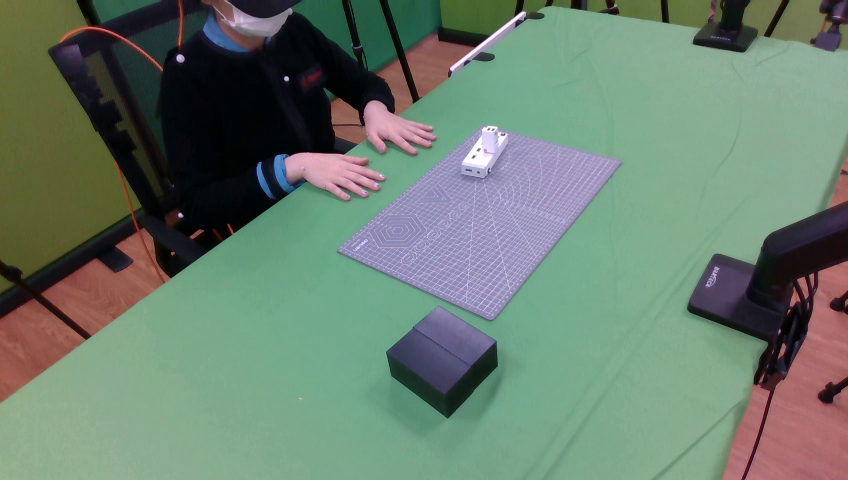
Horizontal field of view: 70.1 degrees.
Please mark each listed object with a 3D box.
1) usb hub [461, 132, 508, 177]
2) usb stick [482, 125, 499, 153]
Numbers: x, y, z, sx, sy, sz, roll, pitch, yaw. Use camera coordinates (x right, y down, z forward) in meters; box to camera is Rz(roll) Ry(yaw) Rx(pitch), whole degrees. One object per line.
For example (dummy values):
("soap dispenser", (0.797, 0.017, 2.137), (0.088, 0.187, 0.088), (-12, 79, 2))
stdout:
("usb hub", (0.116, -0.163, 1.135), (0.049, 0.025, 0.125), (14, 45, 22))
("usb stick", (0.123, -0.179, 1.107), (0.027, 0.059, 0.021), (13, 43, 21))
